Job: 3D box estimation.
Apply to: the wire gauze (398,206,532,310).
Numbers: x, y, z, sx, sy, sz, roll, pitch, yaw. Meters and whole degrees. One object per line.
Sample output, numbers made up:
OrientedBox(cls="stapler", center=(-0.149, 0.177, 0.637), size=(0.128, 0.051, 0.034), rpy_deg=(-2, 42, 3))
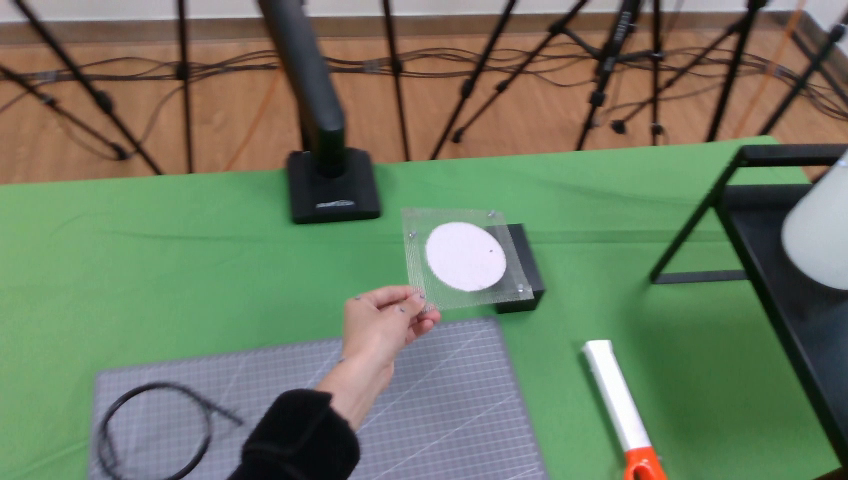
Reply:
OrientedBox(cls="wire gauze", center=(0.039, 0.013, 0.616), size=(0.122, 0.011, 0.124), rpy_deg=(-1, 55, -15))

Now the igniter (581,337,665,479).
OrientedBox(cls="igniter", center=(0.228, 0.231, 0.647), size=(0.057, 0.025, 0.273), rpy_deg=(1, 54, -20))

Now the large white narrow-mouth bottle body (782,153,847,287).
OrientedBox(cls="large white narrow-mouth bottle body", center=(0.422, -0.045, 0.545), size=(0.102, 0.196, 0.101), rpy_deg=(4, 54, -5))

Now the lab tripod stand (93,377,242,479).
OrientedBox(cls="lab tripod stand", center=(-0.223, 0.193, 0.540), size=(0.149, 0.132, 0.147), rpy_deg=(5, 55, -7))
